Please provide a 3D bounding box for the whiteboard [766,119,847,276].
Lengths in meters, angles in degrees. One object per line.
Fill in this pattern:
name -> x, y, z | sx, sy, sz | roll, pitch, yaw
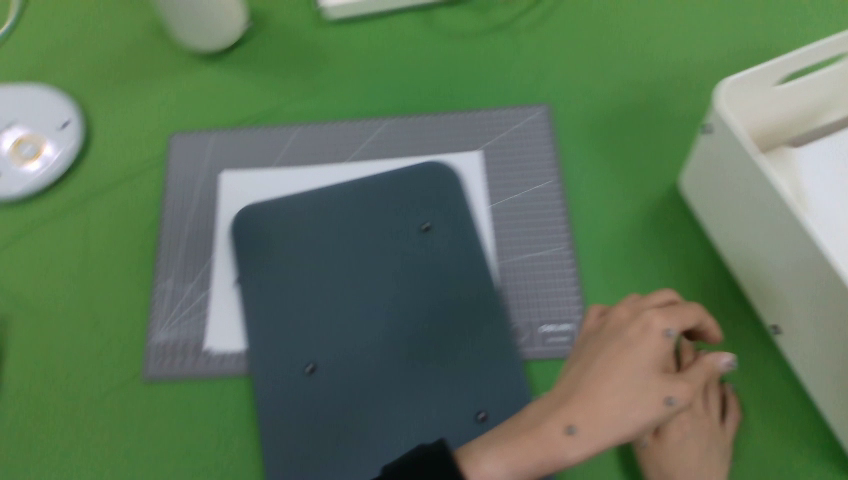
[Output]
whiteboard -> 0.434, 0.001, 0.539 | 0.217, 0.145, 0.303 | -20, 67, -5

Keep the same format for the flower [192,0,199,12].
flower -> -0.248, -0.345, 0.608 | 0.038, 0.362, 0.044 | 45, 68, 1

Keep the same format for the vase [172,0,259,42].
vase -> -0.262, -0.321, 0.687 | 0.098, 0.201, 0.097 | -2, 67, 5

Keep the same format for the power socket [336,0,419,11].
power socket -> -0.012, -0.340, 0.767 | 0.227, 0.033, 0.071 | -8, 69, 0

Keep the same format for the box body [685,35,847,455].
box body -> 0.432, 0.008, 0.525 | 0.254, 0.161, 0.361 | -20, 68, -4

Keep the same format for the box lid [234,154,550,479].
box lid -> -0.045, 0.092, 0.607 | 0.263, 0.015, 0.368 | -13, 69, -2

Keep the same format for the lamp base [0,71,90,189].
lamp base -> -0.494, -0.167, 0.653 | 0.178, 0.182, 0.160 | 28, 72, 18
